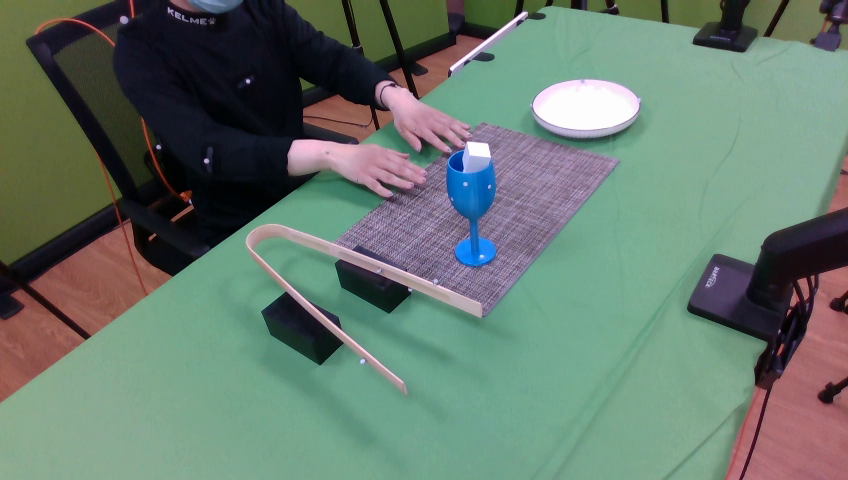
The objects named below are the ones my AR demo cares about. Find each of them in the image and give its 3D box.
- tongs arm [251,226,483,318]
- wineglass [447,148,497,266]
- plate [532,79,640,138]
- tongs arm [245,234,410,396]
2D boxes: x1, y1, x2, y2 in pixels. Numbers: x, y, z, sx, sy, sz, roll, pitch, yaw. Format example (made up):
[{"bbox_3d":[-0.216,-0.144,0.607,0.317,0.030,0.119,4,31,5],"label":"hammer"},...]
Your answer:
[{"bbox_3d":[-0.094,0.044,0.853,0.382,0.026,0.051,21,50,29],"label":"tongs arm"},{"bbox_3d":[0.073,-0.046,0.889,0.074,0.173,0.073,-4,41,4],"label":"wineglass"},{"bbox_3d":[0.322,-0.259,1.212,0.209,0.038,0.208,-4,40,4],"label":"plate"},{"bbox_3d":[-0.145,0.089,0.810,0.028,0.028,0.384,-38,49,-23],"label":"tongs arm"}]
